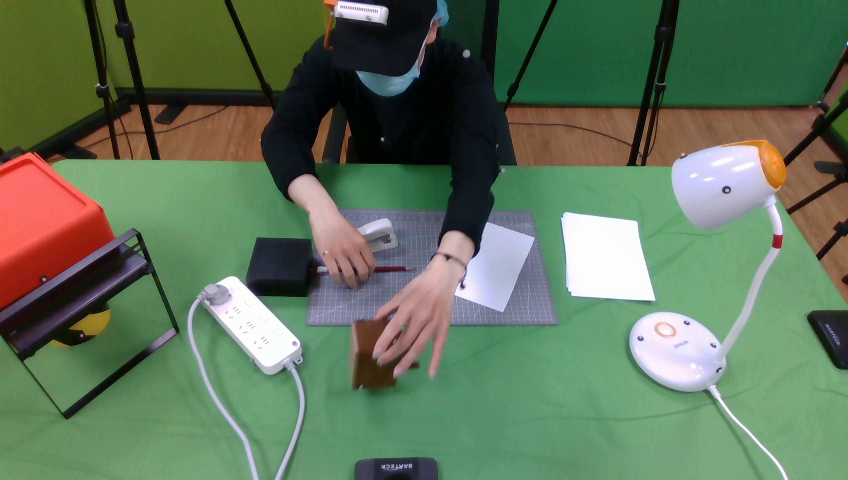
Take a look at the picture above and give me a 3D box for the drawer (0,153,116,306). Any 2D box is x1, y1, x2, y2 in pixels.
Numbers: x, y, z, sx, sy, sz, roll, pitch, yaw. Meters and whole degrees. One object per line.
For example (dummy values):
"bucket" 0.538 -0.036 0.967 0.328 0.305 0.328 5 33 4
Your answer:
"drawer" -0.601 -0.015 0.880 0.193 0.073 0.211 32 53 23

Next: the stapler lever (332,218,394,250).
"stapler lever" -0.116 -0.012 1.162 0.118 0.040 0.026 -13 47 -14

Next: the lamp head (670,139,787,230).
"lamp head" 0.415 -0.079 0.812 0.113 0.123 0.112 13 70 -37

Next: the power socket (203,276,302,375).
"power socket" -0.297 0.141 1.034 0.072 0.033 0.225 -34 58 -30

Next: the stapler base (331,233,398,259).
"stapler base" -0.116 0.004 1.181 0.131 0.024 0.041 -13 47 -14

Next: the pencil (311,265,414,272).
"pencil" -0.115 0.053 1.141 0.194 0.012 0.012 -1 46 -3

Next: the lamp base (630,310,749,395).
"lamp base" 0.447 0.143 0.984 0.161 0.181 0.178 -24 55 -24

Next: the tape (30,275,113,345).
"tape" -0.593 0.117 1.021 0.117 0.053 0.116 2 46 -2

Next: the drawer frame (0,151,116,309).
"drawer frame" -0.604 -0.013 0.875 0.201 0.083 0.213 31 52 23

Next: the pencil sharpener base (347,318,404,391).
"pencil sharpener base" -0.074 0.174 0.917 0.077 0.107 0.061 -2 45 -14

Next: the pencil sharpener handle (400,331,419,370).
"pencil sharpener handle" -0.021 0.167 0.917 0.031 0.068 0.036 -2 24 -14

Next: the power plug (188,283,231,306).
"power plug" -0.368 0.099 1.037 0.072 0.053 0.035 -24 52 -25
